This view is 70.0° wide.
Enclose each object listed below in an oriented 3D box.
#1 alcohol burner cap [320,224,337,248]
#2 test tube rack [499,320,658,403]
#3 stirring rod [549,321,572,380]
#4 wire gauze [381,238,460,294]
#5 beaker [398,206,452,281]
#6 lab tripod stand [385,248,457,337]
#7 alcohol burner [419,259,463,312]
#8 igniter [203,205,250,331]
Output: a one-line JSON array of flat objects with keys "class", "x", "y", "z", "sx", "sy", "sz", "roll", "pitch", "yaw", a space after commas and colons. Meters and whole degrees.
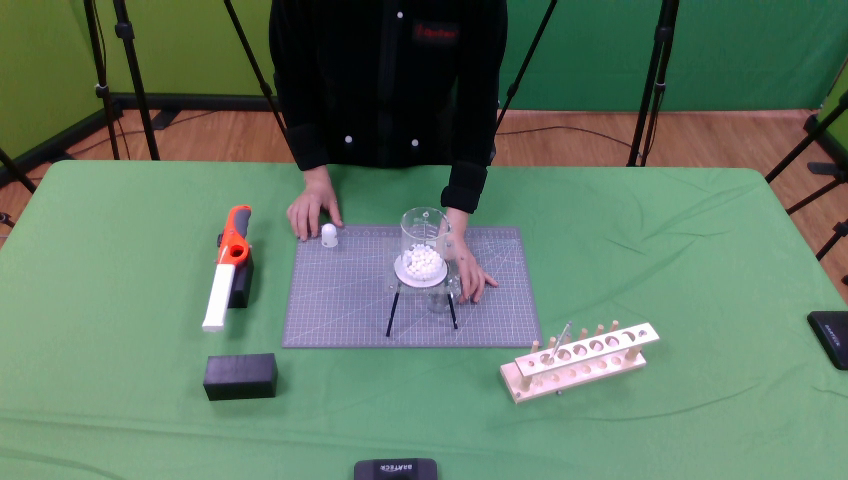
[{"class": "alcohol burner cap", "x": -0.188, "y": -0.010, "z": 1.176, "sx": 0.034, "sy": 0.048, "sz": 0.033, "roll": 2, "pitch": 46, "yaw": -2}, {"class": "test tube rack", "x": 0.252, "y": 0.187, "z": 0.994, "sx": 0.243, "sy": 0.085, "sz": 0.066, "roll": -12, "pitch": 48, "yaw": -15}, {"class": "stirring rod", "x": 0.202, "y": 0.167, "z": 0.901, "sx": 0.006, "sy": 0.177, "sz": 0.014, "roll": -17, "pitch": 55, "yaw": -11}, {"class": "wire gauze", "x": -0.008, "y": 0.042, "z": 0.985, "sx": 0.125, "sy": 0.011, "sz": 0.120, "roll": -1, "pitch": 43, "yaw": -2}, {"class": "beaker", "x": 0.000, "y": 0.009, "z": 0.950, "sx": 0.084, "sy": 0.101, "sz": 0.073, "roll": 10, "pitch": 45, "yaw": 6}, {"class": "lab tripod stand", "x": -0.010, "y": 0.087, "z": 1.032, "sx": 0.148, "sy": 0.132, "sz": 0.147, "roll": 1, "pitch": 45, "yaw": -1}, {"class": "alcohol burner", "x": 0.030, "y": 0.072, "z": 1.064, "sx": 0.078, "sy": 0.120, "sz": 0.077, "roll": 1, "pitch": 46, "yaw": -1}, {"class": "igniter", "x": -0.345, "y": 0.039, "z": 1.065, "sx": 0.057, "sy": 0.025, "sz": 0.274, "roll": 2, "pitch": 49, "yaw": -6}]
